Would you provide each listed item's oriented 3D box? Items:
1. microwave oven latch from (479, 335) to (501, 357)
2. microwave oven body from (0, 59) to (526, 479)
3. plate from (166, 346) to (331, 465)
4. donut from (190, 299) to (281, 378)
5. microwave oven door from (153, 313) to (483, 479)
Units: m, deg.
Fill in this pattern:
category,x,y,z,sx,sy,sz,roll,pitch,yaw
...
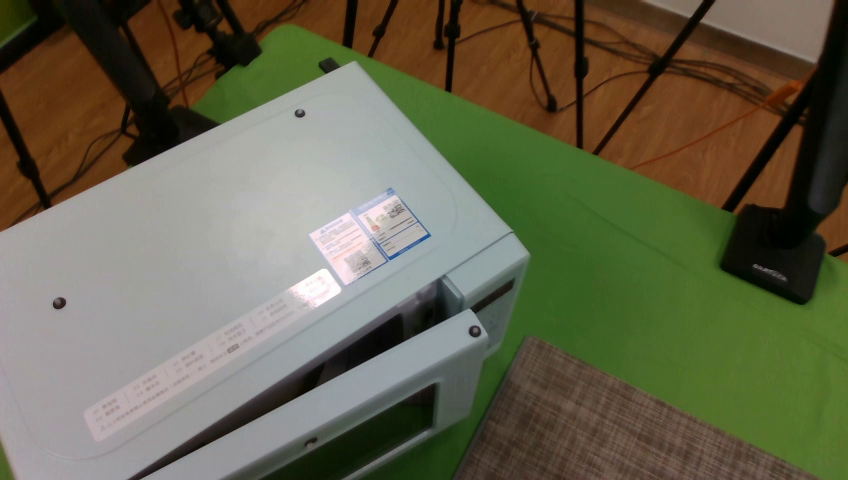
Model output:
category,x,y,z,sx,sy,sz,roll,pitch,yaw
microwave oven latch,0.055,0.131,0.727,0.079,0.030,0.030,-32,65,-18
microwave oven body,-0.175,0.068,0.647,0.442,0.262,0.323,-33,66,-18
plate,-0.201,0.144,0.652,0.209,0.038,0.207,-2,54,3
donut,-0.209,0.109,0.674,0.099,0.048,0.098,6,44,-5
microwave oven door,-0.111,0.202,0.562,0.356,0.246,0.039,-26,62,-16
